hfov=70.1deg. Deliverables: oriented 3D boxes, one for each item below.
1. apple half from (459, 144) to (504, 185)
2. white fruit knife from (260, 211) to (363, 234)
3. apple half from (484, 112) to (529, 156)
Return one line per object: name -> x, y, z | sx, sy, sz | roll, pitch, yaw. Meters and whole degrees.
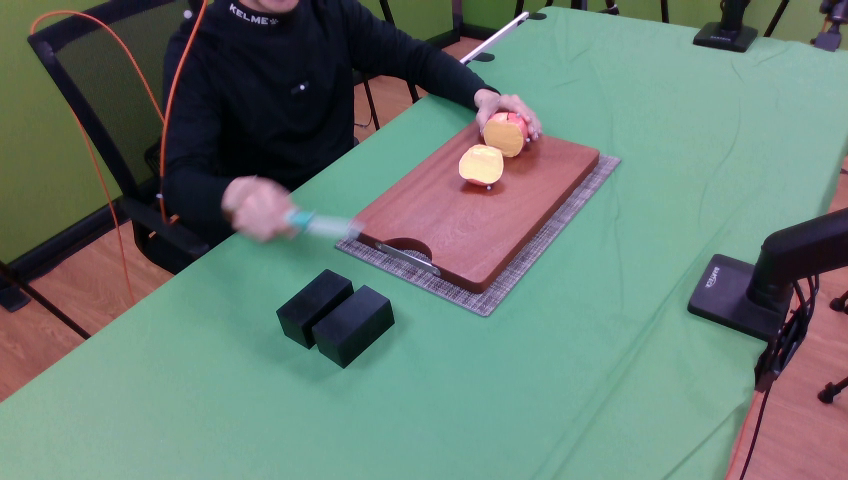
apple half -> 0.102, -0.125, 1.041 | 0.081, 0.033, 0.081 | -4, 64, 8
white fruit knife -> -0.159, -0.024, 0.832 | 0.206, 0.027, 0.016 | 7, 49, 37
apple half -> 0.153, -0.195, 1.090 | 0.080, 0.075, 0.053 | 13, 41, 26
